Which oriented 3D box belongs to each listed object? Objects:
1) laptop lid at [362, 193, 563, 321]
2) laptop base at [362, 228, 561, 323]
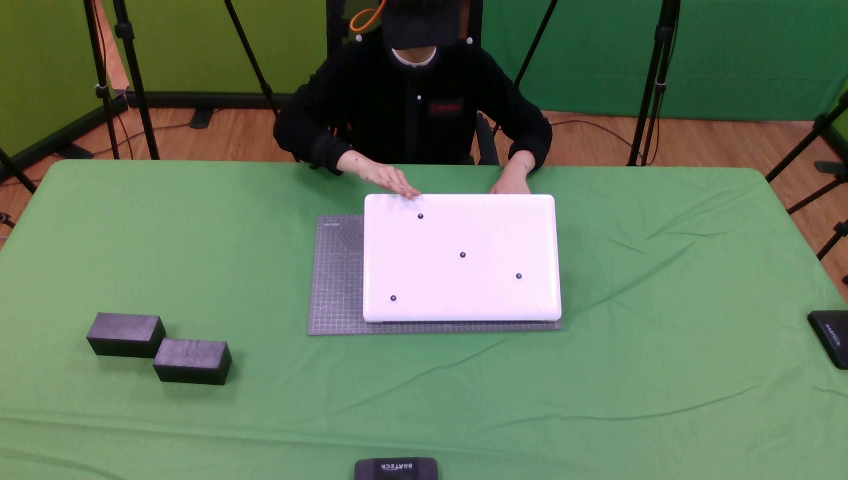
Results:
[{"bbox_3d":[0.068,0.027,1.081,0.357,0.013,0.240,1,74,-3],"label":"laptop lid"},{"bbox_3d":[0.064,0.063,1.143,0.355,0.023,0.234,0,42,-4],"label":"laptop base"}]
